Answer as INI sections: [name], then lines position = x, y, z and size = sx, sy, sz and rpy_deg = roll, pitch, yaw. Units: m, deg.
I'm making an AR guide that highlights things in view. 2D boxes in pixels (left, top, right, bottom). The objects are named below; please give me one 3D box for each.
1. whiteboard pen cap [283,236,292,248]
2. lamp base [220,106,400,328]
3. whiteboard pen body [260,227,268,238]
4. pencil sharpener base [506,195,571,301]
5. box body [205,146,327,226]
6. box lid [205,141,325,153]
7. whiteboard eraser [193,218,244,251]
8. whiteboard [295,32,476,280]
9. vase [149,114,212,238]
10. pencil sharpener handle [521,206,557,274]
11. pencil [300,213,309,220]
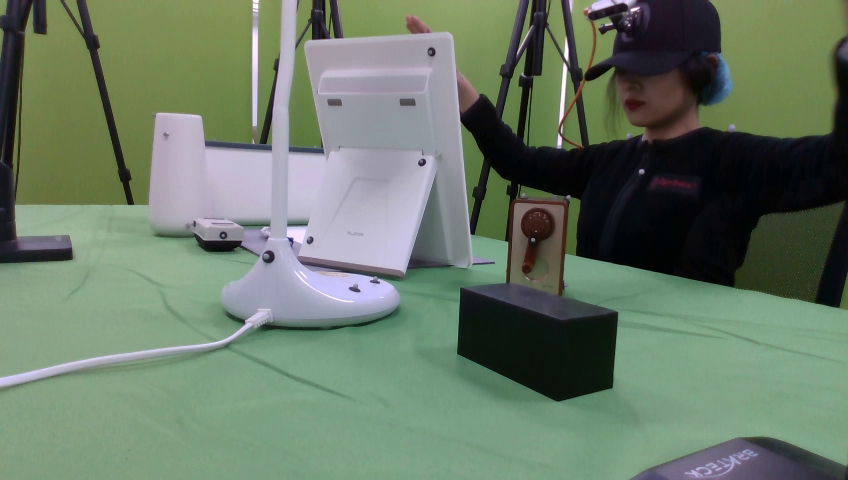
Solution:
[whiteboard pen cap]
position = -0.211, 0.003, 0.913
size = 0.018, 0.018, 0.033
rpy_deg = -2, 6, -28
[lamp base]
position = -0.102, -0.023, 0.531
size = 0.160, 0.180, 0.179
rpy_deg = 4, 10, 10
[whiteboard pen body]
position = -0.239, -0.005, 0.965
size = 0.017, 0.017, 0.140
rpy_deg = -2, 9, -28
[pencil sharpener base]
position = 0.126, 0.007, 0.662
size = 0.061, 0.107, 0.077
rpy_deg = 4, 8, 13
[box body]
position = -0.363, -0.123, 1.293
size = 0.366, 0.160, 0.253
rpy_deg = -2, 9, -32
[box lid]
position = -0.357, -0.196, 1.284
size = 0.373, 0.015, 0.262
rpy_deg = -2, 9, -32
[whiteboard eraser]
position = -0.307, -0.010, 0.900
size = 0.056, 0.042, 0.112
rpy_deg = -4, 10, -28
[whiteboard]
position = -0.076, -0.084, 0.747
size = 0.216, 0.305, 0.144
rpy_deg = 7, 28, 29
[vase]
position = -0.405, -0.106, 1.005
size = 0.098, 0.200, 0.098
rpy_deg = 2, 6, 0
[pencil sharpener handle]
position = 0.112, 0.000, 0.611
size = 0.036, 0.067, 0.031
rpy_deg = 13, 10, 11
[pencil]
position = -0.266, -0.055, 1.351
size = 0.012, 0.012, 0.193
rpy_deg = 1, 4, -8
